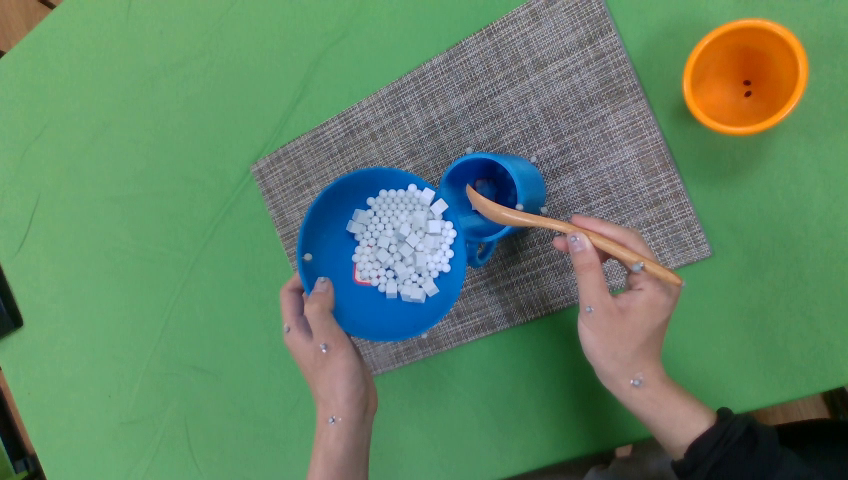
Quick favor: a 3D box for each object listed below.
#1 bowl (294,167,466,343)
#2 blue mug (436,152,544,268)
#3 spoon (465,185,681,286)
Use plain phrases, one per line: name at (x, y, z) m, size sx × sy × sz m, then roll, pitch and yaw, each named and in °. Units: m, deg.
bowl at (-0.046, 0.017, 0.543) m, size 0.076 × 0.152 × 0.151 m, roll -20°, pitch 89°, yaw 67°
blue mug at (0.064, -0.028, 0.597) m, size 0.082 × 0.106 × 0.117 m, roll 17°, pitch 103°, yaw 20°
spoon at (0.105, -0.007, 0.467) m, size 0.192 × 0.042 × 0.021 m, roll 22°, pitch 78°, yaw 36°
